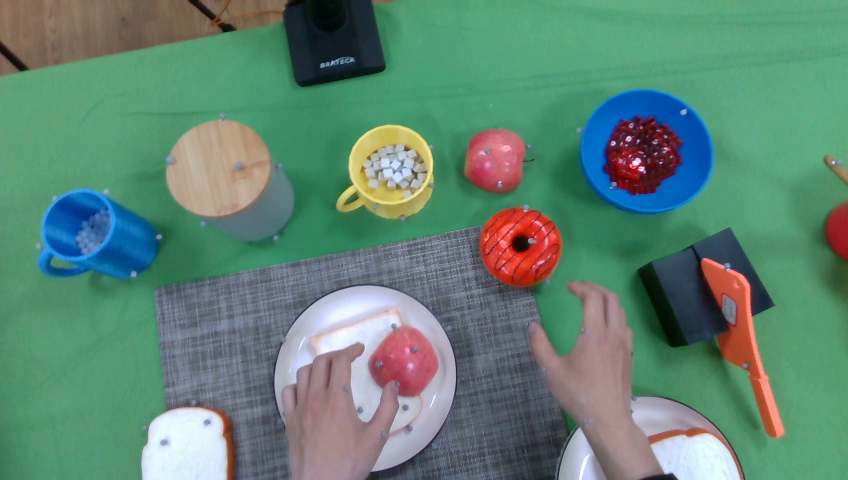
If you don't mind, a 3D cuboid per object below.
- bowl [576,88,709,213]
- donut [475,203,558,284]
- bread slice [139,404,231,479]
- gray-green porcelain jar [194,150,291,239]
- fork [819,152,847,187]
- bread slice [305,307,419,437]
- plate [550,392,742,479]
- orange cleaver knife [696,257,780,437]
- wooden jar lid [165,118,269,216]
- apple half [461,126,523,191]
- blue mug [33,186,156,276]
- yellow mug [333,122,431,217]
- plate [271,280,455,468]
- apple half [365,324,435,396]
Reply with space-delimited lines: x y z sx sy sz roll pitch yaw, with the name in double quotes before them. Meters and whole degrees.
"bowl" 0.252 -0.096 0.728 0.151 0.077 0.150 0 78 1
"donut" 0.110 0.004 0.721 0.099 0.048 0.098 0 78 1
"bread slice" -0.272 0.253 0.684 0.105 0.019 0.131 -3 78 -1
"gray-green porcelain jar" -0.215 -0.061 0.701 0.106 0.127 0.105 0 77 1
"fork" 0.488 -0.045 0.679 0.209 0.018 0.028 29 74 -35
"bread slice" -0.063 0.154 0.693 0.107 0.018 0.133 -22 79 -4
"plate" 0.241 0.274 0.668 0.209 0.038 0.208 0 78 1
"orange cleaver knife" 0.349 0.118 0.678 0.012 0.077 0.212 -22 100 -11
"wooden jar lid" -0.216 -0.076 0.640 0.108 0.021 0.108 0 76 2
"apple half" 0.085 -0.106 0.745 0.074 0.053 0.080 11 78 6
"blue mug" -0.386 0.002 0.698 0.116 0.106 0.082 -37 79 -7
"yellow mug" -0.055 -0.075 0.733 0.131 0.064 0.099 -34 79 -6
"plate" -0.069 0.151 0.694 0.208 0.039 0.206 0 78 1
"apple half" -0.025 0.134 0.675 0.081 0.033 0.081 0 76 -1
